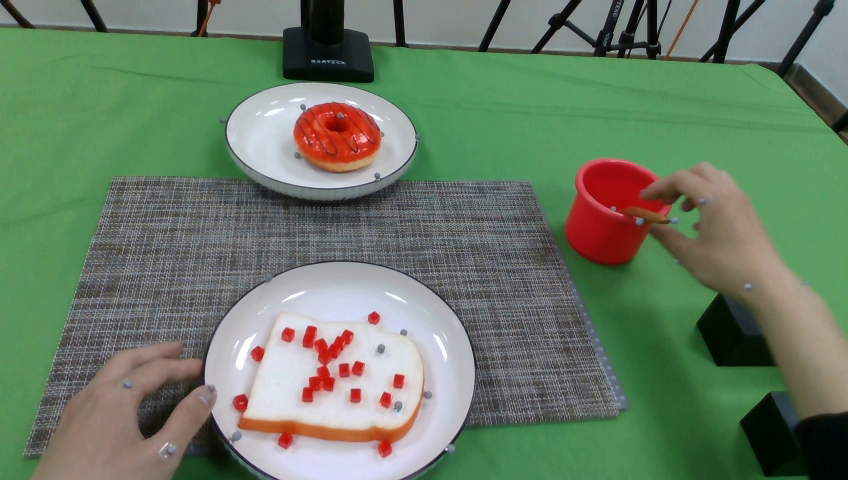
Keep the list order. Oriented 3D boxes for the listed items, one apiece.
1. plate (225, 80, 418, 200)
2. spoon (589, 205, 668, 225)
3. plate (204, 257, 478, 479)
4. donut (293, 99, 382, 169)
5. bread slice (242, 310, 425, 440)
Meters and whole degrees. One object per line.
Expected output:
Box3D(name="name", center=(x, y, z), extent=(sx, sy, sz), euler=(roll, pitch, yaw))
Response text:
Box3D(name="plate", center=(-0.112, -0.110, 0.678), extent=(0.208, 0.039, 0.205), euler=(6, 43, -5))
Box3D(name="spoon", center=(0.197, -0.025, 0.585), extent=(0.041, 0.021, 0.194), euler=(14, 1, 2))
Box3D(name="plate", center=(-0.062, 0.101, 0.479), extent=(0.209, 0.038, 0.207), euler=(5, 46, -5))
Box3D(name="donut", center=(-0.096, -0.118, 0.672), extent=(0.099, 0.048, 0.098), euler=(6, 46, -6))
Box3D(name="bread slice", center=(-0.065, 0.105, 0.479), extent=(0.131, 0.019, 0.104), euler=(8, 46, -2))
